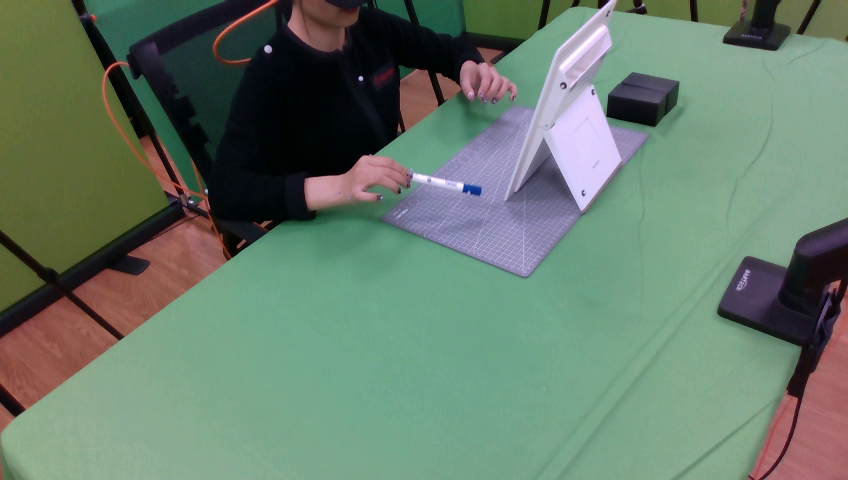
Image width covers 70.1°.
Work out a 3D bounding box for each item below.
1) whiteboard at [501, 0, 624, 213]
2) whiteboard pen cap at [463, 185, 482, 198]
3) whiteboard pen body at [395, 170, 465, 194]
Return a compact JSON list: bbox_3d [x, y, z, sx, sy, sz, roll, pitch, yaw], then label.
[{"bbox_3d":[0.271,-0.189,0.977,0.143,0.306,0.218,34,53,16],"label":"whiteboard"},{"bbox_3d":[0.079,-0.082,1.008,0.033,0.018,0.018,12,42,-1],"label":"whiteboard pen cap"},{"bbox_3d":[0.021,-0.094,1.006,0.141,0.017,0.017,14,43,-1],"label":"whiteboard pen body"}]
